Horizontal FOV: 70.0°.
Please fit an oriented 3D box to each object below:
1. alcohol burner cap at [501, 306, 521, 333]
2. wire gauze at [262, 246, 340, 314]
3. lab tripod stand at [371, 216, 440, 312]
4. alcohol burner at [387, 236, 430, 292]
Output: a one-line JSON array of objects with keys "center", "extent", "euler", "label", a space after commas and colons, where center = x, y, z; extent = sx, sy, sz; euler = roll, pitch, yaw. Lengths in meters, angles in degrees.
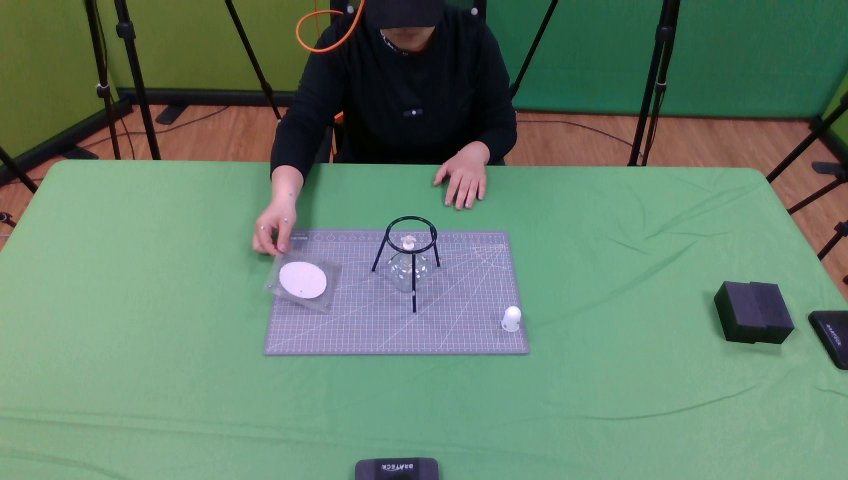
[{"center": [0.155, 0.137, 1.061], "extent": [0.034, 0.048, 0.033], "euler": [2, 45, -1], "label": "alcohol burner cap"}, {"center": [-0.221, 0.068, 1.102], "extent": [0.125, 0.011, 0.121], "euler": [20, 40, -9], "label": "wire gauze"}, {"center": [-0.029, 0.033, 1.084], "extent": [0.148, 0.132, 0.147], "euler": [1, 47, -1], "label": "lab tripod stand"}, {"center": [-0.028, 0.038, 1.093], "extent": [0.078, 0.120, 0.077], "euler": [1, 46, -1], "label": "alcohol burner"}]
